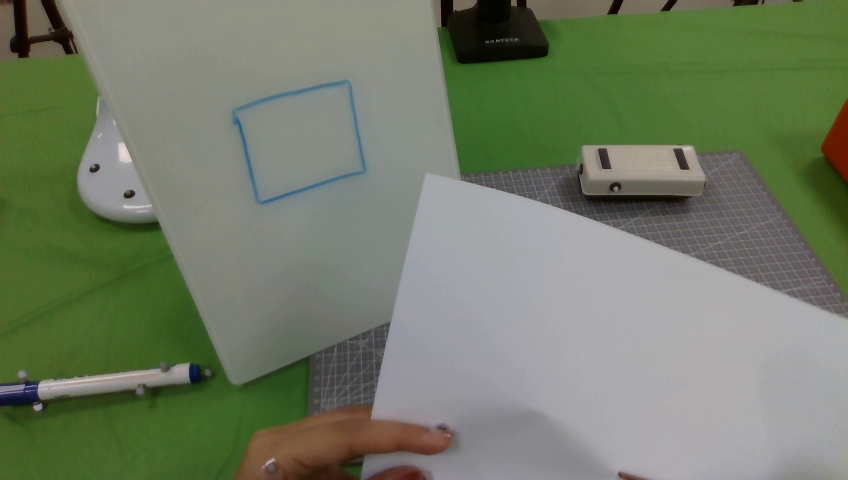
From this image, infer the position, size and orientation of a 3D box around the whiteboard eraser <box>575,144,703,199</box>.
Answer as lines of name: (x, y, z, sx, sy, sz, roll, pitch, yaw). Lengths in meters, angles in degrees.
whiteboard eraser: (0.208, -0.066, 0.593, 0.113, 0.042, 0.055, 0, 45, 2)

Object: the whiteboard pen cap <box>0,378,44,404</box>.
whiteboard pen cap: (-0.300, 0.112, 0.450, 0.033, 0.018, 0.018, -4, 46, -11)

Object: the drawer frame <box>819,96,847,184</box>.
drawer frame: (0.516, -0.049, 0.545, 0.202, 0.083, 0.211, -5, 46, -1)

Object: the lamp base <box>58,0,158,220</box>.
lamp base: (-0.286, -0.136, 0.580, 0.178, 0.182, 0.160, 25, 52, 26)

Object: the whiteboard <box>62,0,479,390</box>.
whiteboard: (-0.102, -0.079, 0.476, 0.217, 0.308, 0.142, -21, 30, -16)

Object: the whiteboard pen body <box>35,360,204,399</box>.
whiteboard pen body: (-0.241, 0.107, 0.458, 0.141, 0.017, 0.017, -5, 46, -9)

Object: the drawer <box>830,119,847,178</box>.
drawer: (0.517, -0.044, 0.541, 0.194, 0.074, 0.209, -3, 46, 0)
